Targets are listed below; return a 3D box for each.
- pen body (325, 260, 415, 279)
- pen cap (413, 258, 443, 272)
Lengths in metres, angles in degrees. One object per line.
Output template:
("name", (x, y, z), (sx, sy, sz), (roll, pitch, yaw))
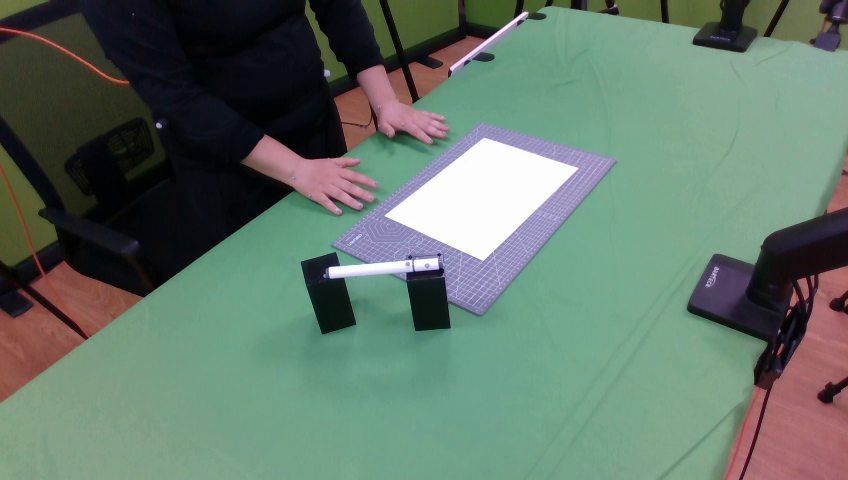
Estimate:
("pen body", (-0.056, 0.037, 0.784), (0.144, 0.017, 0.017), (-5, 40, 4))
("pen cap", (0.005, 0.031, 0.781), (0.038, 0.017, 0.017), (-5, 40, 3))
